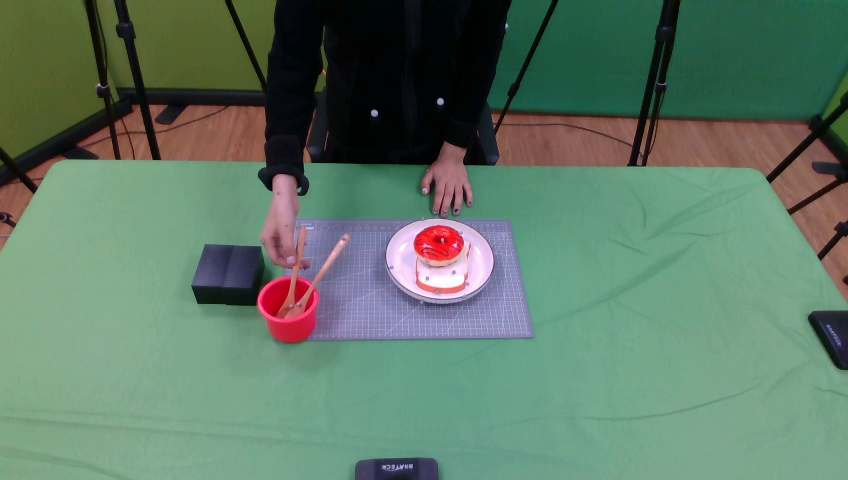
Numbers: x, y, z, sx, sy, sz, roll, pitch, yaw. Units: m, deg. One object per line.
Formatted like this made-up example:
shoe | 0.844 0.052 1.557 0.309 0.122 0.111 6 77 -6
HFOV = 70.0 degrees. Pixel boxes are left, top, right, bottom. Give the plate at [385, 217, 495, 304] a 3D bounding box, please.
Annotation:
plate | 0.030 0.041 1.146 0.209 0.038 0.208 2 46 -2

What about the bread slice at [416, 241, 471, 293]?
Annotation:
bread slice | 0.036 0.046 1.144 0.105 0.019 0.131 4 45 1

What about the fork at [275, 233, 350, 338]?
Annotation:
fork | -0.184 0.075 1.014 0.028 0.018 0.207 35 95 13

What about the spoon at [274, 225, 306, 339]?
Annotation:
spoon | -0.220 0.070 1.026 0.041 0.021 0.193 10 91 0

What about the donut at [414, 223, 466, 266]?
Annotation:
donut | 0.030 0.008 1.140 0.099 0.048 0.098 0 42 0
